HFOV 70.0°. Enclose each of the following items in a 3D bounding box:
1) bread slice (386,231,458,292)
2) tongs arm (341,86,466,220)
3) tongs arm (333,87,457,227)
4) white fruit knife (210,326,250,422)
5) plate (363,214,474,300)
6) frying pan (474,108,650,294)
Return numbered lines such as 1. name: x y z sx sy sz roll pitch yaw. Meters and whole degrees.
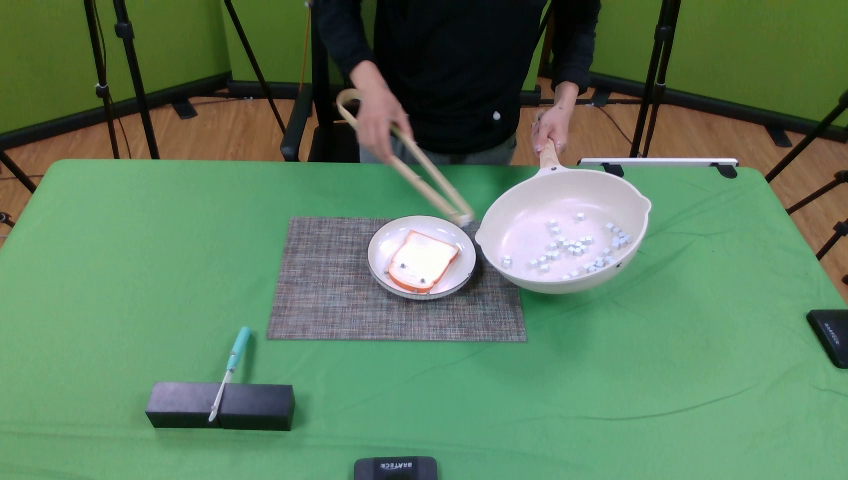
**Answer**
1. bread slice: -0.007 0.043 1.142 0.107 0.018 0.134 18 45 14
2. tongs arm: -0.042 -0.172 1.135 0.028 0.028 0.385 -34 64 -13
3. tongs arm: -0.056 -0.163 1.130 0.051 0.026 0.383 -39 66 -18
4. white fruit knife: -0.301 0.201 0.942 0.016 0.027 0.206 0 32 -1
5. plate: -0.010 0.036 1.146 0.208 0.039 0.206 3 46 -2
6. frying pan: 0.247 -0.094 1.147 0.306 0.103 0.485 -10 50 14
